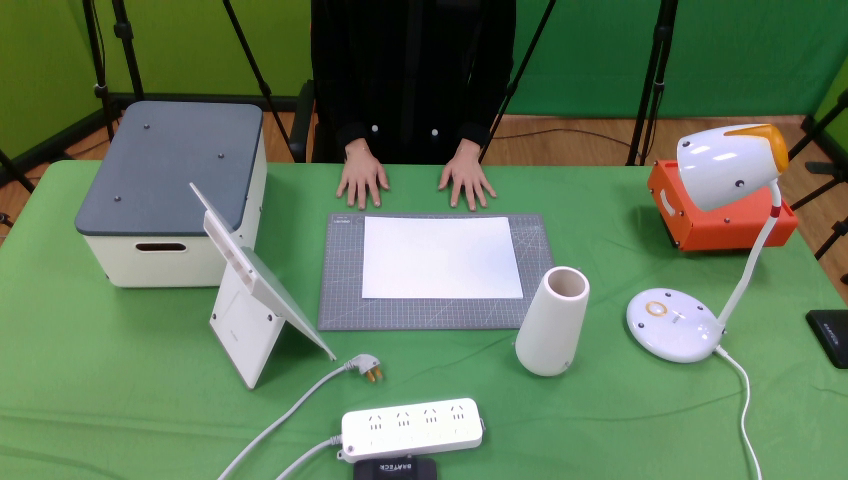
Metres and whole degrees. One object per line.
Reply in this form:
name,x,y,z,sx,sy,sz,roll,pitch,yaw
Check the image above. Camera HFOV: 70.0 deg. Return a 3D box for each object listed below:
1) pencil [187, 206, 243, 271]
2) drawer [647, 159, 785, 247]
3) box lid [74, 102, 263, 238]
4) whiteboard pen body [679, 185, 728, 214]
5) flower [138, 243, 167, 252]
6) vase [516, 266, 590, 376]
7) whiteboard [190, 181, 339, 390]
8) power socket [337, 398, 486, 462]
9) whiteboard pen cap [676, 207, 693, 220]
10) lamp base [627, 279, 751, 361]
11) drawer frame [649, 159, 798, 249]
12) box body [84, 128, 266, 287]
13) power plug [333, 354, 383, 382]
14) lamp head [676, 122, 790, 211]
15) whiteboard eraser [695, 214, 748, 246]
pencil,-0.401,-0.008,1.176,0.012,0.012,0.193,15,44,10
drawer,0.582,-0.079,1.214,0.212,0.073,0.193,-1,46,-5
box lid,-0.443,-0.138,1.094,0.263,0.015,0.369,0,46,-5
whiteboard pen body,0.570,-0.081,1.239,0.141,0.017,0.017,-26,54,-22
flower,-0.443,-0.043,1.194,0.044,0.038,0.361,46,47,-7
vase,0.208,0.132,0.964,0.098,0.201,0.097,3,46,-3
whiteboard,-0.292,0.096,0.929,0.144,0.307,0.216,-37,57,-10
power socket,-0.018,0.285,0.915,0.227,0.033,0.071,-4,46,-8
whiteboard pen cap,0.524,-0.053,1.216,0.033,0.018,0.018,-28,54,-23
lamp base,0.459,0.100,1.027,0.178,0.181,0.160,27,51,17
drawer frame,0.588,-0.077,1.219,0.214,0.083,0.200,-2,45,-5
box body,-0.447,-0.088,1.150,0.254,0.161,0.361,-1,46,-5
power plug,-0.103,0.215,0.988,0.072,0.035,0.052,-36,77,15
lamp head,0.423,-0.104,0.819,0.122,0.113,0.112,-13,33,40
whiteboard eraser,0.592,-0.019,1.209,0.113,0.042,0.055,12,27,-36
